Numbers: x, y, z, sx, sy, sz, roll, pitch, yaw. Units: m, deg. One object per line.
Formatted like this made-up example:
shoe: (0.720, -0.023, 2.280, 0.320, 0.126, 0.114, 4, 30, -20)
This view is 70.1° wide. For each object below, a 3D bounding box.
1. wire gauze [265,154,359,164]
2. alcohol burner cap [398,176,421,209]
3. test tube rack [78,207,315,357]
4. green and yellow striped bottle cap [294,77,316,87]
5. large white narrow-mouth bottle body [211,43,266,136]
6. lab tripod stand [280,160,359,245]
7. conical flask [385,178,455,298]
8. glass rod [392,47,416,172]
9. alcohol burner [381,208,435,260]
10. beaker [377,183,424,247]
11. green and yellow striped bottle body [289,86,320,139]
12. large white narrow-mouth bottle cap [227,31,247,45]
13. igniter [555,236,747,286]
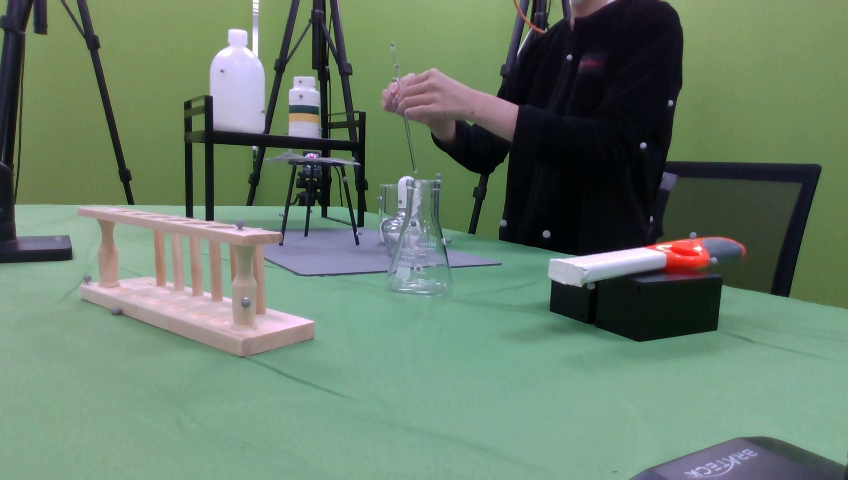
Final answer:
wire gauze: (-0.181, -0.129, 0.969, 0.126, 0.011, 0.121, -1, 6, -27)
alcohol burner cap: (-0.023, -0.068, 0.866, 0.034, 0.048, 0.034, -5, 8, 1)
test tube rack: (-0.196, 0.023, 0.500, 0.241, 0.085, 0.067, 8, 8, 37)
green and yellow striped bottle cap: (-0.247, -0.326, 1.251, 0.045, 0.020, 0.045, 0, 10, 0)
large white narrow-mouth bottle body: (-0.361, -0.302, 1.176, 0.102, 0.194, 0.102, 1, 7, 0)
lab tripod stand: (-0.176, -0.062, 0.973, 0.148, 0.131, 0.148, 1, 7, 0)
conical flask: (-0.002, -0.004, 0.639, 0.075, 0.122, 0.075, 2, 7, 0)
glass rod: (-0.032, -0.207, 0.970, 0.008, 0.200, 0.008, -9, 16, 3)
alcohol burner: (-0.023, -0.032, 0.871, 0.078, 0.119, 0.078, 0, 6, 0)
beaker: (-0.037, -0.041, 0.995, 0.074, 0.100, 0.083, -6, 12, -44)
green and yellow striped bottle body: (-0.249, -0.272, 1.259, 0.063, 0.119, 0.063, 2, 8, 0)
large white narrow-mouth bottle cap: (-0.361, -0.388, 1.165, 0.038, 0.024, 0.037, 1, 7, 0)
igniter: (0.221, 0.017, 0.558, 0.278, 0.025, 0.057, -5, 15, -39)
